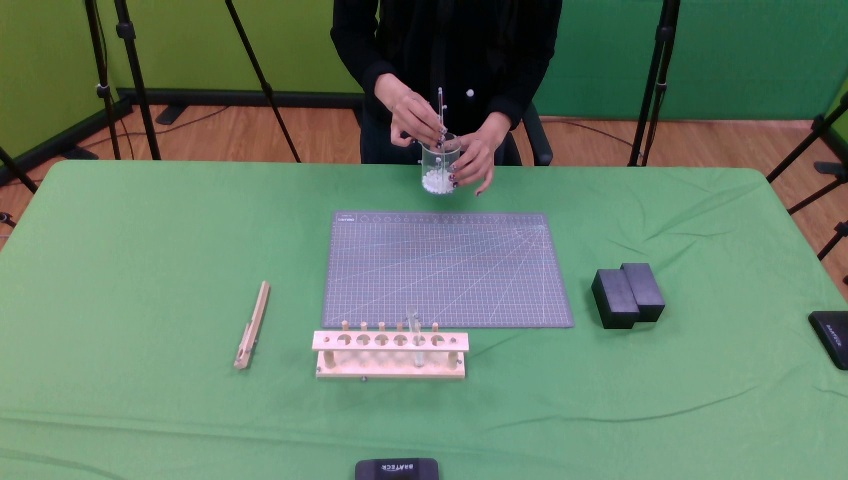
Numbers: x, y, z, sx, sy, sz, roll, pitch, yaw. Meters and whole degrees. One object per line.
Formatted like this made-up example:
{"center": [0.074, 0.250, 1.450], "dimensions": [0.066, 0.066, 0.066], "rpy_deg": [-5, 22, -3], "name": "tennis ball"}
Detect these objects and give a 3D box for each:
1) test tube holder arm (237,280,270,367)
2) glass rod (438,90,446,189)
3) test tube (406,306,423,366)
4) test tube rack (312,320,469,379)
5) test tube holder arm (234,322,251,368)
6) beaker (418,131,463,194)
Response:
{"center": [-0.291, 0.140, 1.042], "dimensions": [0.013, 0.015, 0.177], "rpy_deg": [-17, 41, 22], "name": "test tube holder arm"}
{"center": [0.033, -0.175, 1.085], "dimensions": [0.008, 0.201, 0.008], "rpy_deg": [-2, 39, 2], "name": "glass rod"}
{"center": [-0.013, 0.152, 0.939], "dimensions": [0.017, 0.151, 0.017], "rpy_deg": [-3, 48, 3], "name": "test tube"}
{"center": [-0.054, 0.173, 0.984], "dimensions": [0.242, 0.085, 0.066], "rpy_deg": [1, 46, -3], "name": "test tube rack"}
{"center": [-0.299, 0.173, 1.013], "dimensions": [0.010, 0.015, 0.087], "rpy_deg": [-17, 41, 22], "name": "test tube holder arm"}
{"center": [0.028, -0.144, 1.139], "dimensions": [0.084, 0.101, 0.073], "rpy_deg": [13, 43, 12], "name": "beaker"}
